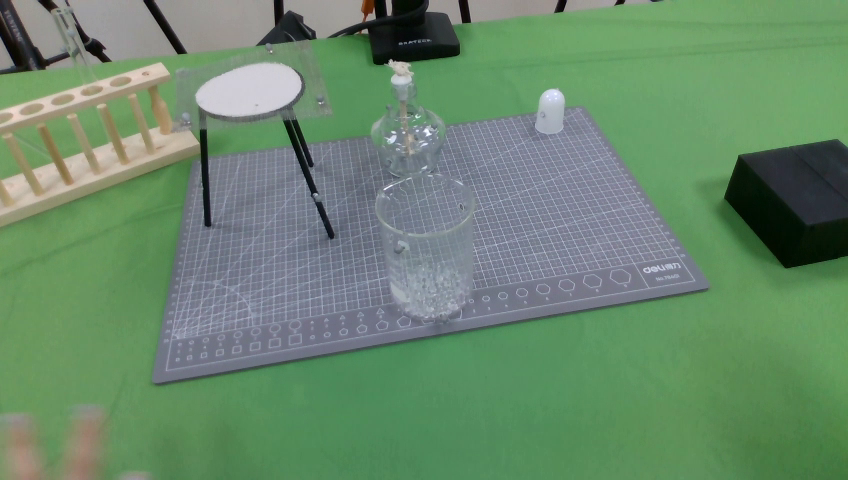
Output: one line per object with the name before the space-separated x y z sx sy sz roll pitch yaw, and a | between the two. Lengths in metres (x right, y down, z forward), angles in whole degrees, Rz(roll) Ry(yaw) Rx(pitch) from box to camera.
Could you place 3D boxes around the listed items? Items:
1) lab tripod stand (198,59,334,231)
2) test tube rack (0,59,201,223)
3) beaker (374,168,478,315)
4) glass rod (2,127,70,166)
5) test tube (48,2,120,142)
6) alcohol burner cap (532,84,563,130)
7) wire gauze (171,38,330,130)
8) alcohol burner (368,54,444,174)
lab tripod stand | -0.146 -0.083 0.555 0.148 0.133 0.147 -2 46 3
test tube rack | -0.370 -0.101 0.628 0.242 0.086 0.066 -26 48 -22
beaker | 0.001 0.004 0.479 0.083 0.101 0.074 24 50 27
glass rod | -0.429 -0.124 0.574 0.008 0.202 0.008 -15 57 24
test tube | -0.346 -0.167 0.622 0.017 0.151 0.017 -2 41 2
alcohol burner cap | 0.138 -0.150 0.671 0.034 0.048 0.033 -2 44 2
wire gauze | -0.150 -0.132 0.508 0.125 0.011 0.120 -13 45 -9
alcohol burner | -0.020 -0.127 0.606 0.078 0.120 0.077 -3 42 3
